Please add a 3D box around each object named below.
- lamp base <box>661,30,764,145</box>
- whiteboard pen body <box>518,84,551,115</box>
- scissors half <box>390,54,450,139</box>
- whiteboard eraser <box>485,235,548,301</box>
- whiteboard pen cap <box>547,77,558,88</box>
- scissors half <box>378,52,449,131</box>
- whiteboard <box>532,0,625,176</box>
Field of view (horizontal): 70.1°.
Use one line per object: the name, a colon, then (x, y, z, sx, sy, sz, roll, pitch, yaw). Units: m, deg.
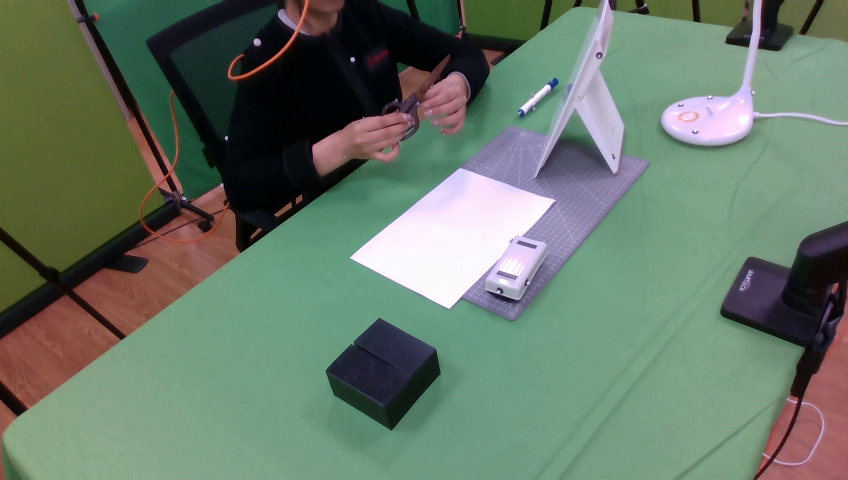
lamp base: (0.535, -0.287, 1.096, 0.179, 0.181, 0.159, -10, 40, -4)
whiteboard pen body: (0.242, -0.306, 1.289, 0.017, 0.017, 0.141, 24, 52, 33)
scissors half: (-0.004, -0.251, 1.062, 0.040, 0.175, 0.012, 22, 21, -33)
whiteboard eraser: (0.137, 0.042, 0.887, 0.055, 0.042, 0.113, 15, 45, 27)
whiteboard pen cap: (0.279, -0.341, 1.321, 0.018, 0.018, 0.033, 22, 52, 31)
scissors half: (-0.018, -0.260, 1.051, 0.175, 0.040, 0.012, -44, 32, 8)
whiteboard: (0.320, -0.259, 1.050, 0.144, 0.306, 0.217, 21, 45, 5)
